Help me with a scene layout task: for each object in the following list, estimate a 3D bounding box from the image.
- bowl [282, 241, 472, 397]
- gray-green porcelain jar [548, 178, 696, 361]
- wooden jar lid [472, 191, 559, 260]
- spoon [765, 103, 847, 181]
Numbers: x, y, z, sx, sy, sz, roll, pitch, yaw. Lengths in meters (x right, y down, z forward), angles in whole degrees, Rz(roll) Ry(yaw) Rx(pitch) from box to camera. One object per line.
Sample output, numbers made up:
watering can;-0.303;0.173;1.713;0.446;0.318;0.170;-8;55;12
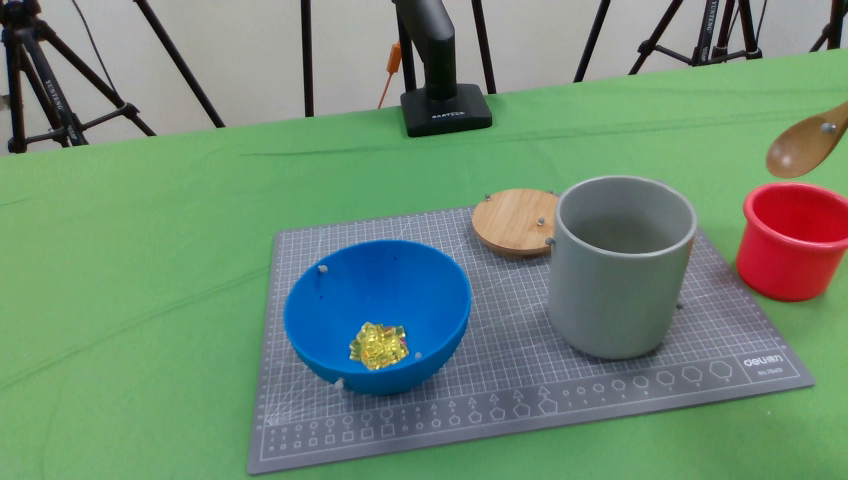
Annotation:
bowl;-0.034;0.077;0.504;0.151;0.077;0.150;-3;40;3
gray-green porcelain jar;0.158;0.029;0.503;0.106;0.128;0.105;-3;40;3
wooden jar lid;0.105;-0.015;0.648;0.108;0.021;0.107;-4;38;3
spoon;0.277;-0.091;0.365;0.022;0.194;0.041;6;67;-4
